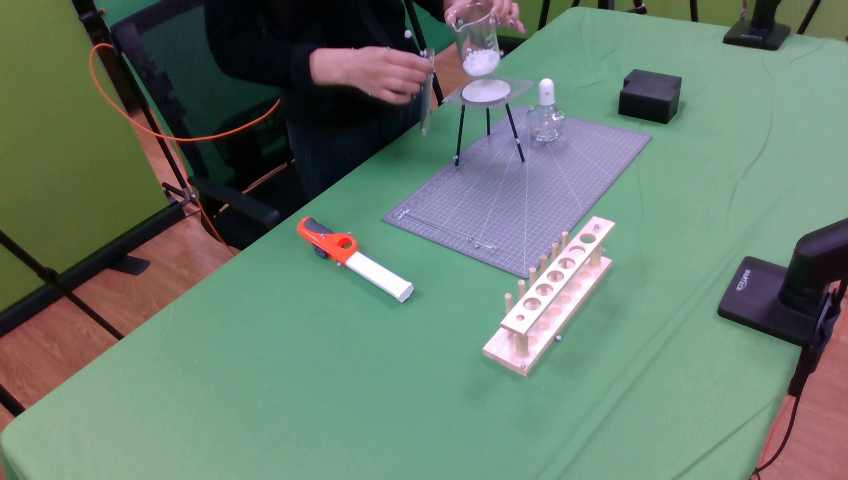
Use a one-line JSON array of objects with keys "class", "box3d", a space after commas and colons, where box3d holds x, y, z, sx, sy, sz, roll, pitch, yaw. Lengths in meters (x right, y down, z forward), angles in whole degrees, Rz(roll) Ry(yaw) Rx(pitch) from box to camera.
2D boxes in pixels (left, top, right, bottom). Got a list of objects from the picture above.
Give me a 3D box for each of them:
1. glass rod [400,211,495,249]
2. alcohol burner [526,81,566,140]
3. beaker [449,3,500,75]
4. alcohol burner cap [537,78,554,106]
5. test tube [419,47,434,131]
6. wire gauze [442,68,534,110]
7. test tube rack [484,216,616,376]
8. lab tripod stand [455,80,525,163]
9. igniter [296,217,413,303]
[{"class": "glass rod", "box3d": [0.035, -0.018, 1.001, 0.198, 0.008, 0.008, 21, 49, 35]}, {"class": "alcohol burner", "box3d": [0.235, -0.252, 1.159, 0.078, 0.119, 0.077, -4, 42, 4]}, {"class": "beaker", "box3d": [0.088, -0.340, 1.036, 0.073, 0.101, 0.084, 18, 55, 34]}, {"class": "alcohol burner cap", "box3d": [0.229, -0.279, 1.136, 0.034, 0.048, 0.033, -6, 33, 4]}, {"class": "test tube", "box3d": [0.003, -0.243, 0.986, 0.017, 0.150, 0.017, 3, 44, -2]}, {"class": "wire gauze", "box3d": [0.114, -0.269, 1.081, 0.120, 0.011, 0.125, 21, 49, 29]}, {"class": "test tube rack", "box3d": [0.174, 0.064, 0.823, 0.066, 0.085, 0.243, 23, 49, 33]}, {"class": "lab tripod stand", "box3d": [0.120, -0.220, 1.126, 0.148, 0.132, 0.147, -4, 39, 4]}, {"class": "igniter", "box3d": [-0.121, 0.025, 0.970, 0.274, 0.025, 0.057, 29, 63, 37]}]
